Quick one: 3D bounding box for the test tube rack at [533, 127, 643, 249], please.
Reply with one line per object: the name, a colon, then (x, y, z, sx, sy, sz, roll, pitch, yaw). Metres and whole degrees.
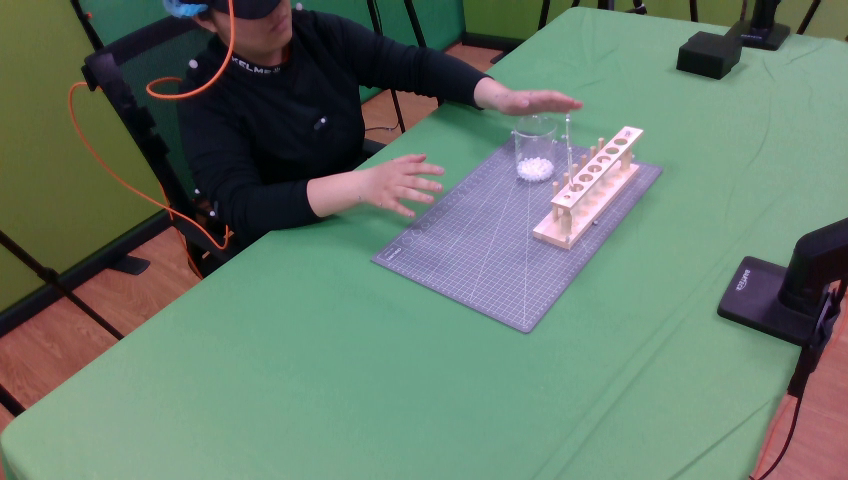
test tube rack: (0.271, -0.094, 0.990, 0.066, 0.085, 0.243, 23, 50, 33)

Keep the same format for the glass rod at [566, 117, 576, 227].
glass rod: (0.218, -0.094, 0.895, 0.008, 0.201, 0.008, -9, 41, 8)

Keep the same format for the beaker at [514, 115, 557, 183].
beaker: (0.199, -0.161, 1.071, 0.073, 0.101, 0.084, 8, 42, 19)
